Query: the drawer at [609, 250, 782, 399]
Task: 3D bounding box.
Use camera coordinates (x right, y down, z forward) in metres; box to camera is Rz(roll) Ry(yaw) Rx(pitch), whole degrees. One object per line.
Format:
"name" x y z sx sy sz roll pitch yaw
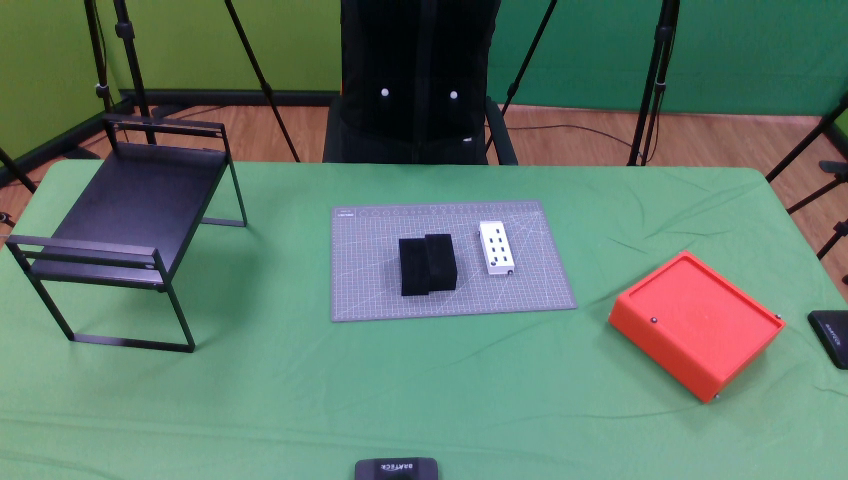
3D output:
"drawer" 0.469 0.141 1.055 0.194 0.073 0.210 -28 55 -27

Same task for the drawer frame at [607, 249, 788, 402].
"drawer frame" 0.470 0.139 1.052 0.202 0.083 0.212 -28 55 -28

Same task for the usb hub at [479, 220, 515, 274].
"usb hub" 0.141 0.013 1.188 0.049 0.025 0.124 -3 46 -6
